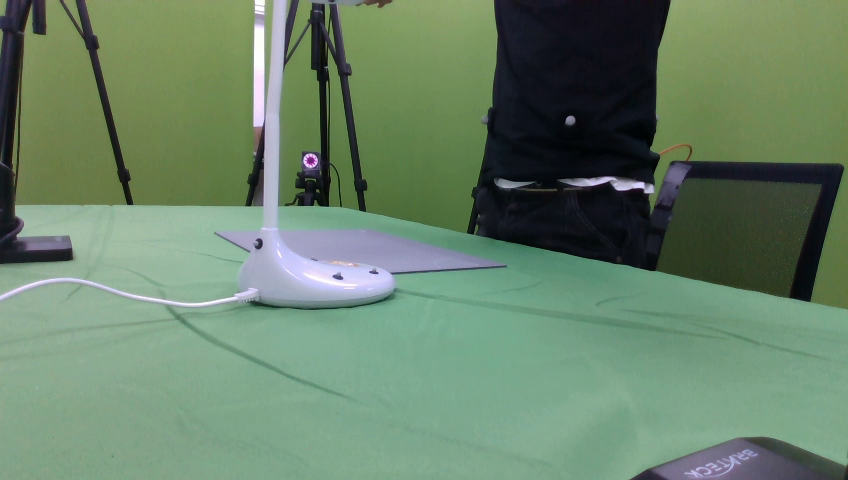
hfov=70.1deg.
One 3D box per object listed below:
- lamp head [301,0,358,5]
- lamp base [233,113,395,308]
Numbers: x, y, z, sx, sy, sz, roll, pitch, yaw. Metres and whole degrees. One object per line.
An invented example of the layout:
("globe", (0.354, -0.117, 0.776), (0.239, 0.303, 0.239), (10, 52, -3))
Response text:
("lamp head", (-0.095, -0.314, 0.610), (0.112, 0.123, 0.112), (-4, 50, 5))
("lamp base", (-0.113, -0.033, 0.600), (0.160, 0.180, 0.180), (6, 11, 28))
